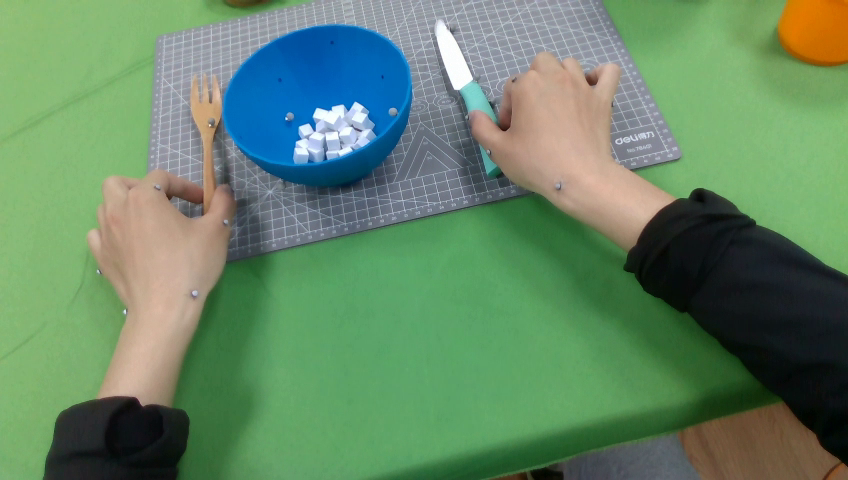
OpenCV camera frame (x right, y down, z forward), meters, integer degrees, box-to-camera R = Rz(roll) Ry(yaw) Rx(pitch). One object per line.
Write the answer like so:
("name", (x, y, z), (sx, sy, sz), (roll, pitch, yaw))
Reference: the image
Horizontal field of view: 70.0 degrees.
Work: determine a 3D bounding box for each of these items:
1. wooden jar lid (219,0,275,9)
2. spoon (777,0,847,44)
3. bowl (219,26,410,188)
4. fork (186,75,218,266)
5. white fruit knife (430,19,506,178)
("wooden jar lid", (-0.191, -0.295, 0.672), (0.108, 0.021, 0.107), (-2, 59, 4))
("spoon", (0.381, -0.220, 0.478), (0.022, 0.193, 0.041), (16, 56, -35))
("bowl", (-0.081, -0.096, 0.502), (0.151, 0.077, 0.150), (-3, 59, 6))
("fork", (-0.193, -0.068, 0.534), (0.028, 0.019, 0.205), (4, 55, -28))
("white fruit knife", (0.036, -0.137, 0.547), (0.027, 0.016, 0.205), (-8, 57, -14))
